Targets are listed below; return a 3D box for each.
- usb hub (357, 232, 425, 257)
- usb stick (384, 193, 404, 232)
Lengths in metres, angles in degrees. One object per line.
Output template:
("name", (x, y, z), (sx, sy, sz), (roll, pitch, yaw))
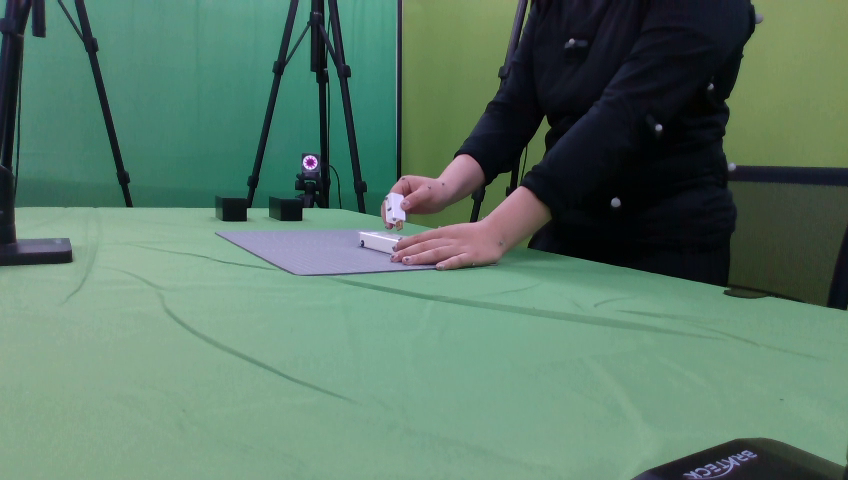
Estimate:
("usb hub", (-0.054, 0.005, 0.947), (0.050, 0.025, 0.124), (-3, 9, -36))
("usb stick", (-0.047, -0.043, 0.951), (0.027, 0.059, 0.021), (12, -26, -43))
